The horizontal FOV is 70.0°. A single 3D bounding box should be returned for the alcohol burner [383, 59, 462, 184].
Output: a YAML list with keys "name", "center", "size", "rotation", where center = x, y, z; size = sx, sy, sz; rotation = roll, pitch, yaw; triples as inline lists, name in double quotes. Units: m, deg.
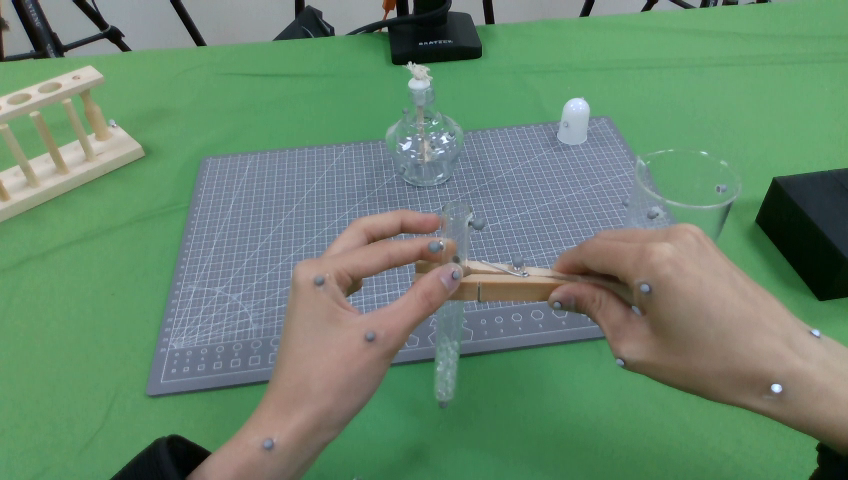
- name: "alcohol burner"
  center: [-0.002, -0.115, 0.581]
  size: [0.078, 0.120, 0.077]
  rotation: [-2, 43, 3]

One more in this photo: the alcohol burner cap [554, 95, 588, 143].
- name: "alcohol burner cap"
  center: [0.157, -0.131, 0.642]
  size: [0.034, 0.048, 0.033]
  rotation: [-1, 44, 2]

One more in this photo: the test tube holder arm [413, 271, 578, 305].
- name: "test tube holder arm"
  center: [0.038, 0.026, 0.326]
  size: [0.088, 0.015, 0.010]
  rotation: [-4, 46, -1]

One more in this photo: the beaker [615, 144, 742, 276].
- name: "beaker"
  center: [0.192, -0.015, 0.479]
  size: [0.074, 0.101, 0.083]
  rotation: [-28, 48, -24]

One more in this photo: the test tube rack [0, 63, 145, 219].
- name: "test tube rack"
  center: [-0.414, -0.080, 0.588]
  size: [0.242, 0.086, 0.066]
  rotation: [-35, 52, -29]

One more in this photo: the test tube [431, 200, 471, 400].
- name: "test tube"
  center: [0.014, 0.042, 0.347]
  size: [0.017, 0.151, 0.017]
  rotation: [1, 39, -1]

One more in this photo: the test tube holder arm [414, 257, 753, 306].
- name: "test tube holder arm"
  center: [0.083, 0.022, 0.328]
  size: [0.178, 0.015, 0.013]
  rotation: [3, 47, 5]
